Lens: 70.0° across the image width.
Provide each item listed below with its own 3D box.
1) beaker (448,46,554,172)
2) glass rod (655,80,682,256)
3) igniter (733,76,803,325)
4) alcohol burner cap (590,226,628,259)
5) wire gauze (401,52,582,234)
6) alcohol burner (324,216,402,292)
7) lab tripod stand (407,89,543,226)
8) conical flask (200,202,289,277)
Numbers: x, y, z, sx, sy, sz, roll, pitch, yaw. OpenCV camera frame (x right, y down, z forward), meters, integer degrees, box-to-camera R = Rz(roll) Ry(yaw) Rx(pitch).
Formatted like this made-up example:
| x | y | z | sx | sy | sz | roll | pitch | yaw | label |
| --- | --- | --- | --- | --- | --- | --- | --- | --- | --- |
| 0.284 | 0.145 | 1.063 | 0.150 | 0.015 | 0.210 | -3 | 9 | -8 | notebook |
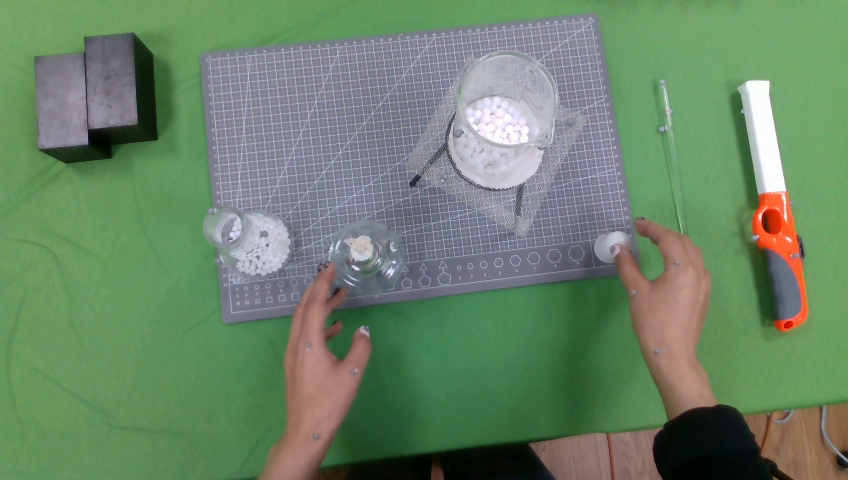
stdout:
| x | y | z | sx | sy | sz | roll | pitch | yaw | label |
| --- | --- | --- | --- | --- | --- | --- | --- | --- | --- |
| 0.059 | -0.097 | 0.489 | 0.084 | 0.100 | 0.074 | 44 | 84 | 4 | beaker |
| 0.273 | -0.081 | 0.676 | 0.008 | 0.008 | 0.199 | -5 | 86 | -3 | glass rod |
| 0.378 | -0.046 | 0.666 | 0.057 | 0.025 | 0.275 | -4 | 83 | -14 | igniter |
| 0.199 | 0.001 | 0.642 | 0.034 | 0.048 | 0.033 | 1 | 80 | -4 | alcohol burner cap |
| 0.060 | -0.088 | 0.536 | 0.125 | 0.011 | 0.121 | 30 | 85 | 0 | wire gauze |
| -0.062 | 0.011 | 0.594 | 0.078 | 0.119 | 0.077 | 0 | 83 | 0 | alcohol burner |
| 0.056 | -0.081 | 0.601 | 0.148 | 0.131 | 0.148 | 0 | 84 | -1 | lab tripod stand |
| -0.178 | -0.006 | 0.587 | 0.075 | 0.122 | 0.075 | 0 | 82 | -2 | conical flask |
